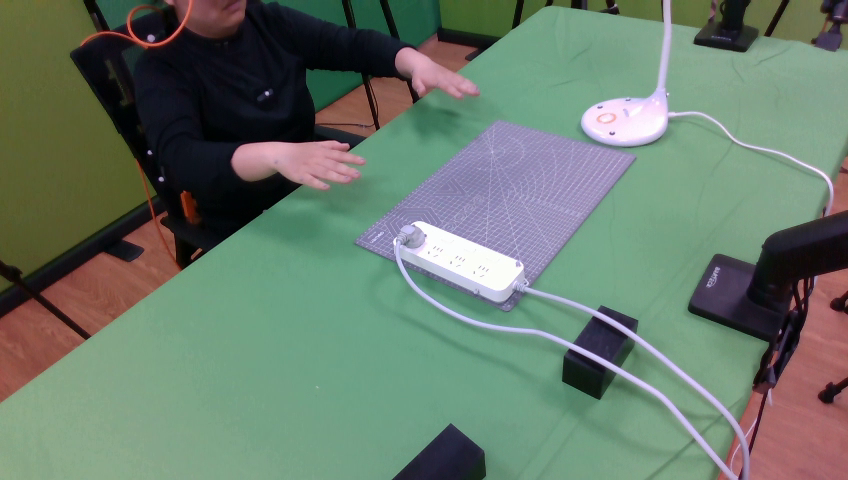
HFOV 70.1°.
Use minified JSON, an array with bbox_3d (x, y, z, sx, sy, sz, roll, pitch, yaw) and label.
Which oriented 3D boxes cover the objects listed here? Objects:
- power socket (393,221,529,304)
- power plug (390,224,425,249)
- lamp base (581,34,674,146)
[{"bbox_3d":[0.049,0.030,0.914,0.225,0.033,0.072,24,51,31],"label":"power socket"},{"bbox_3d":[-0.030,0.004,0.920,0.073,0.053,0.035,-34,47,-26],"label":"power plug"},{"bbox_3d":[0.392,-0.291,1.129,0.180,0.181,0.159,-11,41,-8],"label":"lamp base"}]
